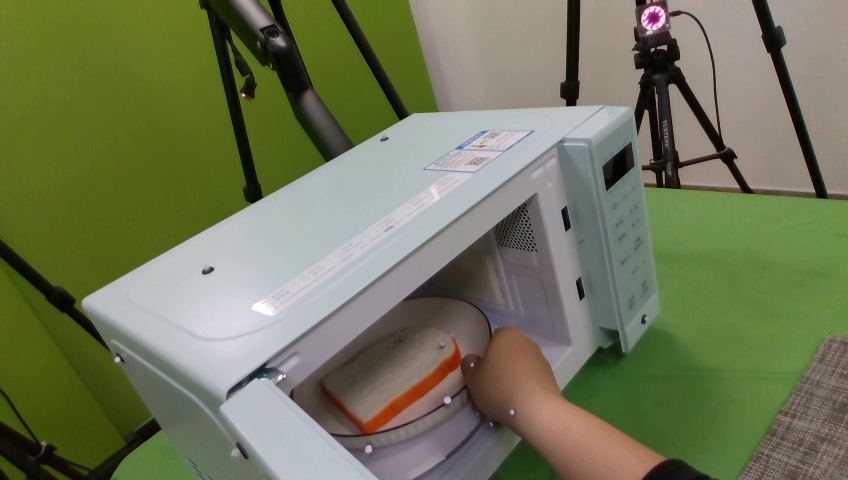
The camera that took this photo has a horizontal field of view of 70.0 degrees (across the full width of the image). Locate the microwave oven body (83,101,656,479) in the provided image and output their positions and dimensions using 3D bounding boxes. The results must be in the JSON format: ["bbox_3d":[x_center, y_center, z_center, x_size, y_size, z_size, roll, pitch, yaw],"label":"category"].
[{"bbox_3d":[-0.025,0.067,0.608,0.323,0.262,0.441,10,39,45],"label":"microwave oven body"}]

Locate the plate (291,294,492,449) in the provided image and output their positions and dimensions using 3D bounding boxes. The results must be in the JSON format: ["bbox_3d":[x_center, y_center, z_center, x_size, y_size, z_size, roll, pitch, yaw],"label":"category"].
[{"bbox_3d":[-0.029,0.129,0.604,0.209,0.038,0.207,-17,25,9],"label":"plate"}]

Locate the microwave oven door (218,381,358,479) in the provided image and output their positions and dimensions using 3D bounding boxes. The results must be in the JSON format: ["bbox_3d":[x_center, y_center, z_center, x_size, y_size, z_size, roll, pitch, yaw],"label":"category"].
[{"bbox_3d":[0.035,0.216,0.255,0.039,0.246,0.352,-33,29,-28],"label":"microwave oven door"}]

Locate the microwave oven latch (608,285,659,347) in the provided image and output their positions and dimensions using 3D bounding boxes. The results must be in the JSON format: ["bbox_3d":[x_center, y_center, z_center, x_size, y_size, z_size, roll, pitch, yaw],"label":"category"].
[{"bbox_3d":[0.223,0.078,0.647,0.030,0.030,0.079,11,39,45],"label":"microwave oven latch"}]

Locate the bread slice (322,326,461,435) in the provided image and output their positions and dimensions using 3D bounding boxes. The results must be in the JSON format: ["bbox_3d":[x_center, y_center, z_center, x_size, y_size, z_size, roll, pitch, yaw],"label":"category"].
[{"bbox_3d":[-0.030,0.132,0.608,0.131,0.019,0.104,-34,29,-24],"label":"bread slice"}]
